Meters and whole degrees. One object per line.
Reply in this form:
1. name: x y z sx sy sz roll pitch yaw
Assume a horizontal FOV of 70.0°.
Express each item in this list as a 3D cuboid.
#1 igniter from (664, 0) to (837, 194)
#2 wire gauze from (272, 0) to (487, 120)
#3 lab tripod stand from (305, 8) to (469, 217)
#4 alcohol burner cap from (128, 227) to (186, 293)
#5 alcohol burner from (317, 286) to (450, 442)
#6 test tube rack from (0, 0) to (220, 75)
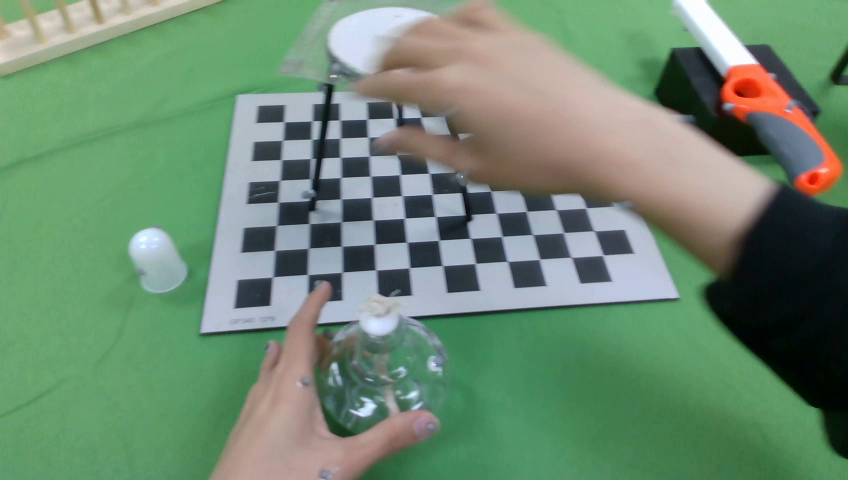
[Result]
1. igniter: 0.273 -0.140 0.525 0.057 0.025 0.273 -6 50 -3
2. wire gauze: -0.023 -0.131 0.402 0.125 0.011 0.120 11 50 4
3. lab tripod stand: -0.023 -0.091 0.456 0.148 0.132 0.147 3 50 -3
4. alcohol burner cap: -0.191 0.012 0.428 0.034 0.048 0.033 2 51 -2
5. alcohol burner: -0.024 0.067 0.345 0.078 0.120 0.077 0 50 0
6. test tube rack: -0.337 -0.260 0.612 0.242 0.086 0.066 -32 60 -26
